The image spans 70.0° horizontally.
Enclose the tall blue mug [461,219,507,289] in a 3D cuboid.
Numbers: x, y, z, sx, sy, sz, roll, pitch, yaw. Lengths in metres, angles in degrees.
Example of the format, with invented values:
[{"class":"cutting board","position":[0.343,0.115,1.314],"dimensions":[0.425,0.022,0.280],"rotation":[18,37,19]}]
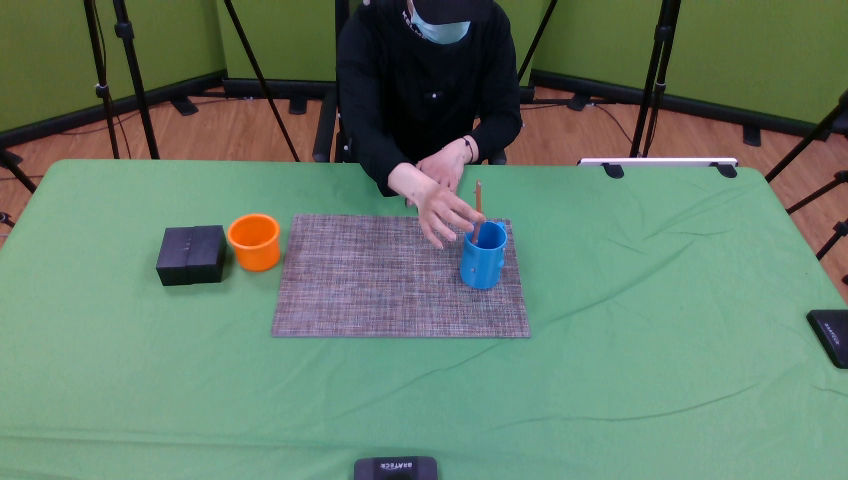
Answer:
[{"class":"tall blue mug","position":[0.111,0.016,1.122],"dimensions":[0.078,0.108,0.106],"rotation":[6,46,4]}]

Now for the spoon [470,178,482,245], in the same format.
[{"class":"spoon","position":[0.092,-0.028,1.058],"dimensions":[0.021,0.194,0.041],"rotation":[2,39,-2]}]
